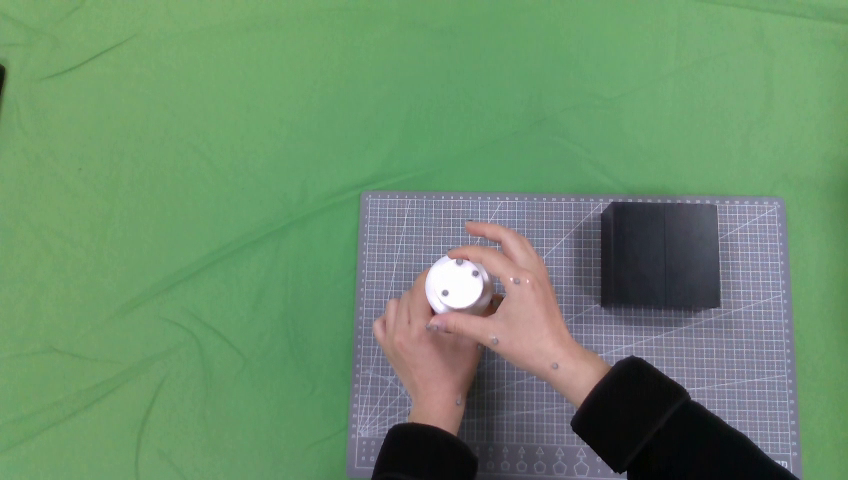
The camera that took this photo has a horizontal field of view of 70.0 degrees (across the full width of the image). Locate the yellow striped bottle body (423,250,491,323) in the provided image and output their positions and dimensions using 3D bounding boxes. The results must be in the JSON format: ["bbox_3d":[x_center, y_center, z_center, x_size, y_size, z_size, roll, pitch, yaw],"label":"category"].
[{"bbox_3d":[0.032,0.046,0.581,0.063,0.121,0.062,-1,79,4],"label":"yellow striped bottle body"}]

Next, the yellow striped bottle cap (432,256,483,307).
[{"bbox_3d":[0.029,0.036,0.528,0.044,0.019,0.044,-1,78,5],"label":"yellow striped bottle cap"}]
